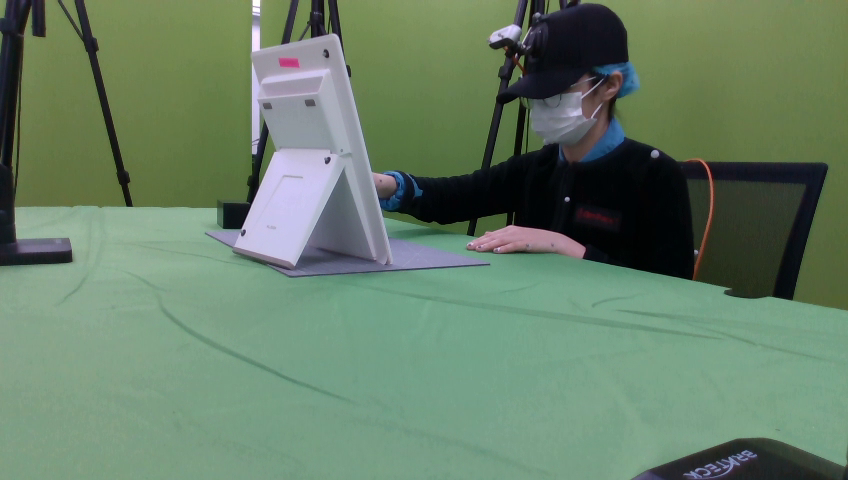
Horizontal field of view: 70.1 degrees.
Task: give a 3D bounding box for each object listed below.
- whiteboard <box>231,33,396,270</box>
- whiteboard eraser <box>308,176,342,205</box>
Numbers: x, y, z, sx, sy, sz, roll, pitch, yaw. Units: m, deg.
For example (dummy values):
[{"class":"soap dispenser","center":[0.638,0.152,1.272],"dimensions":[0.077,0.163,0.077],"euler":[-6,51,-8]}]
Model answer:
[{"class":"whiteboard","center":[-0.193,-0.094,0.805],"dimensions":[0.144,0.305,0.216],"euler":[-29,25,-35]},{"class":"whiteboard eraser","center":[-0.171,-0.085,1.051],"dimensions":[0.041,0.019,0.101],"euler":[22,-11,11]}]
